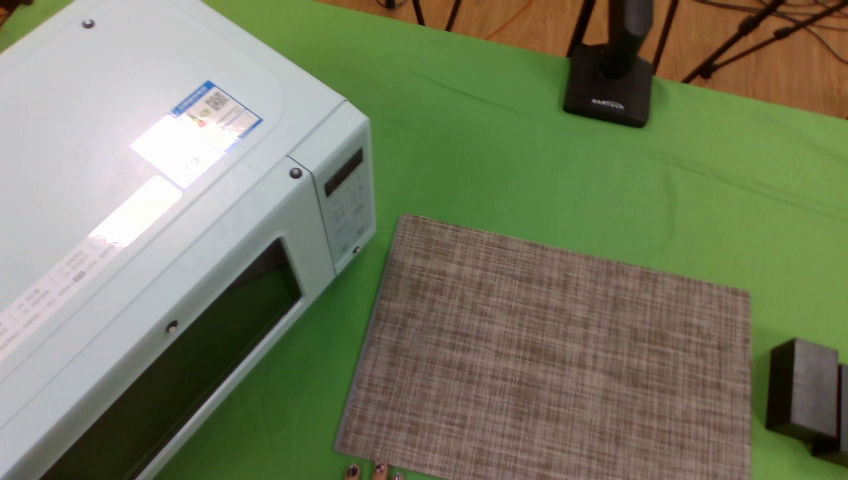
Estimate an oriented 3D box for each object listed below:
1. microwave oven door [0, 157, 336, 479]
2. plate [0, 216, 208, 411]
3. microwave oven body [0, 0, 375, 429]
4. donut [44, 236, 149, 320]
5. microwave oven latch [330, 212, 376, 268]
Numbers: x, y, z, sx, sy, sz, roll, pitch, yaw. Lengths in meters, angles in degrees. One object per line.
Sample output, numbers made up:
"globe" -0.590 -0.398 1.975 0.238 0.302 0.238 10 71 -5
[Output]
"microwave oven door" -0.220 0.105 0.557 0.039 0.245 0.355 36 69 13
"plate" -0.321 0.073 0.618 0.209 0.038 0.207 -1 62 3
"microwave oven body" -0.311 -0.006 0.607 0.324 0.262 0.440 36 69 11
"donut" -0.340 0.039 0.635 0.099 0.048 0.098 5 51 -5
"microwave oven latch" -0.090 -0.006 0.728 0.030 0.030 0.079 36 69 11
